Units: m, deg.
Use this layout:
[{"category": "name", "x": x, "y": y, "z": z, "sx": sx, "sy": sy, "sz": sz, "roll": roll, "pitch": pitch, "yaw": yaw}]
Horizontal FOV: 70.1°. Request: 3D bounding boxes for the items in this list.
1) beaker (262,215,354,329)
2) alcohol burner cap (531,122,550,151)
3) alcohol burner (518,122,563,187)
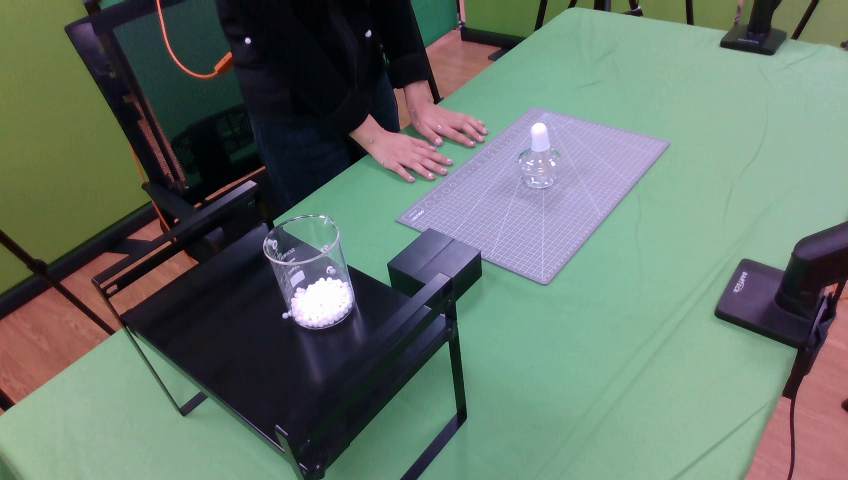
[{"category": "beaker", "x": -0.112, "y": 0.034, "z": 0.616, "sx": 0.073, "sy": 0.101, "sz": 0.084, "roll": 13, "pitch": 44, "yaw": 23}, {"category": "alcohol burner cap", "x": 0.196, "y": -0.178, "z": 1.024, "sx": 0.034, "sy": 0.048, "sz": 0.033, "roll": -8, "pitch": 40, "yaw": 7}, {"category": "alcohol burner", "x": 0.201, "y": -0.151, "z": 1.046, "sx": 0.078, "sy": 0.119, "sz": 0.077, "roll": -6, "pitch": 42, "yaw": 5}]
